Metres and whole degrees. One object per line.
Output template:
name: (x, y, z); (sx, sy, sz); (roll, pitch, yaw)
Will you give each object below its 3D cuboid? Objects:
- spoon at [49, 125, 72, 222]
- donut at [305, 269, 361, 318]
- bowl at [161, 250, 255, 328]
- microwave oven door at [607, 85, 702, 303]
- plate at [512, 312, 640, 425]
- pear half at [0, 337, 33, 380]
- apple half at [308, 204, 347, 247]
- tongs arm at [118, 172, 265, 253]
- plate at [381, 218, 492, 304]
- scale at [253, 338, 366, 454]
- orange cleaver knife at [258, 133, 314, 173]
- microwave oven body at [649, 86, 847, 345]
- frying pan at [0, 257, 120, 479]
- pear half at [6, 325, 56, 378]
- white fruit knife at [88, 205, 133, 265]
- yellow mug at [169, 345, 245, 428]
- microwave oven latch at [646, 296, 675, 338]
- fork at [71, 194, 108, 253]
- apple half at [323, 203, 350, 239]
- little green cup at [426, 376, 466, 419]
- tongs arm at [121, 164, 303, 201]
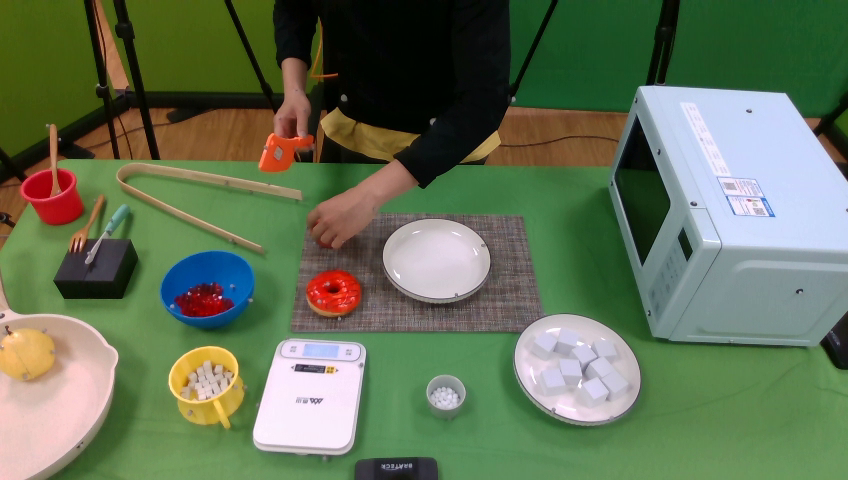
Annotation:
spoon: (-0.718, -0.131, 1.189); (0.041, 0.021, 0.193); (-4, 90, -7)
donut: (-0.160, 0.094, 1.075); (0.099, 0.048, 0.098); (4, 45, -3)
bowl: (-0.362, 0.098, 1.039); (0.151, 0.077, 0.150); (2, 45, -2)
microwave oven door: (0.423, -0.094, 1.140); (0.039, 0.245, 0.353); (2, 46, -1)
plate: (0.246, 0.213, 0.999); (0.208, 0.039, 0.206); (2, 46, -2)
pear half: (-0.631, 0.184, 0.921); (0.070, 0.088, 0.031); (29, 49, 19)
apple half: (-0.193, -0.021, 1.164); (0.080, 0.075, 0.053); (37, 58, 23)
tongs arm: (-0.473, -0.054, 1.212); (0.386, 0.028, 0.028); (23, 56, 18)
plate: (0.023, 0.042, 1.143); (0.209, 0.038, 0.208); (2, 46, -2)
scale: (-0.175, 0.236, 0.951); (0.149, 0.032, 0.199); (5, 45, -1)
orange cleaver knife: (-0.256, -0.166, 1.139); (0.012, 0.077, 0.211); (21, 15, 7)
microwave oven body: (0.568, -0.053, 1.118); (0.326, 0.261, 0.439); (2, 45, -1)
frying pan: (-0.647, 0.164, 0.936); (0.307, 0.103, 0.485); (-19, 58, -22)
pear half: (-0.608, 0.158, 0.935); (0.076, 0.110, 0.056); (31, 51, 20)
white fruit knife: (-0.584, -0.013, 1.129); (0.016, 0.027, 0.206); (0, 32, -5)
yellow mug: (-0.322, 0.230, 0.922); (0.100, 0.064, 0.130); (-24, 53, -25)
microwave oven latch: (0.412, 0.134, 1.061); (0.030, 0.029, 0.078); (4, 45, 1)
fork: (-0.634, -0.036, 1.158); (0.028, 0.019, 0.206); (-8, 31, -8)
apple half: (-0.165, -0.041, 1.184); (0.081, 0.082, 0.033); (36, 59, 27)
little green cup: (0.033, 0.248, 0.950); (0.061, 0.039, 0.061); (2, 46, -2)
tongs arm: (-0.444, -0.114, 1.267); (0.384, 0.026, 0.050); (12, 50, 8)
